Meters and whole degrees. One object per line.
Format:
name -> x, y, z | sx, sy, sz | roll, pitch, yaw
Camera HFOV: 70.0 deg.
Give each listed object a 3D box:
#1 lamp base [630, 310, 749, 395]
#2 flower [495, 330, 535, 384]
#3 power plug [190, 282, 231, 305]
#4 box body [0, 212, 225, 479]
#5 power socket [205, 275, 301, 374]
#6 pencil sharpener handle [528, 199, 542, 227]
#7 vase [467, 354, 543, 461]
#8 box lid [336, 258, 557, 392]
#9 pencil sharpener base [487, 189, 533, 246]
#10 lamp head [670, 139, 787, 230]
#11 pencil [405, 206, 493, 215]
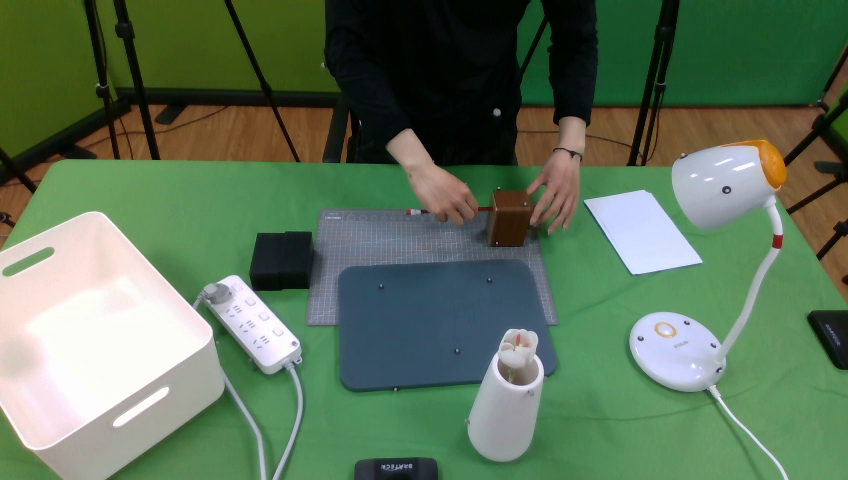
lamp base -> 0.447, 0.143, 0.984 | 0.161, 0.181, 0.178 | -24, 55, -24
flower -> 0.110, 0.187, 0.791 | 0.044, 0.363, 0.038 | -32, 65, -10
power plug -> -0.368, 0.098, 1.038 | 0.072, 0.053, 0.035 | -26, 55, -20
box body -> -0.504, 0.154, 0.916 | 0.362, 0.161, 0.254 | 36, 54, 27
power socket -> -0.296, 0.140, 1.035 | 0.072, 0.033, 0.225 | -32, 57, -29
pencil sharpener handle -> 0.220, -0.052, 1.183 | 0.031, 0.068, 0.036 | 0, 43, -4
vase -> 0.116, 0.234, 0.861 | 0.098, 0.201, 0.097 | 1, 47, -1
box lid -> 0.030, 0.140, 1.073 | 0.372, 0.015, 0.261 | -3, 47, -7
pencil sharpener base -> 0.169, -0.044, 1.189 | 0.077, 0.107, 0.061 | 0, 46, -4
lamp head -> 0.415, -0.078, 0.811 | 0.113, 0.123, 0.112 | 12, 70, -37
pencil -> 0.061, -0.058, 1.164 | 0.194, 0.012, 0.012 | -2, 47, -2
